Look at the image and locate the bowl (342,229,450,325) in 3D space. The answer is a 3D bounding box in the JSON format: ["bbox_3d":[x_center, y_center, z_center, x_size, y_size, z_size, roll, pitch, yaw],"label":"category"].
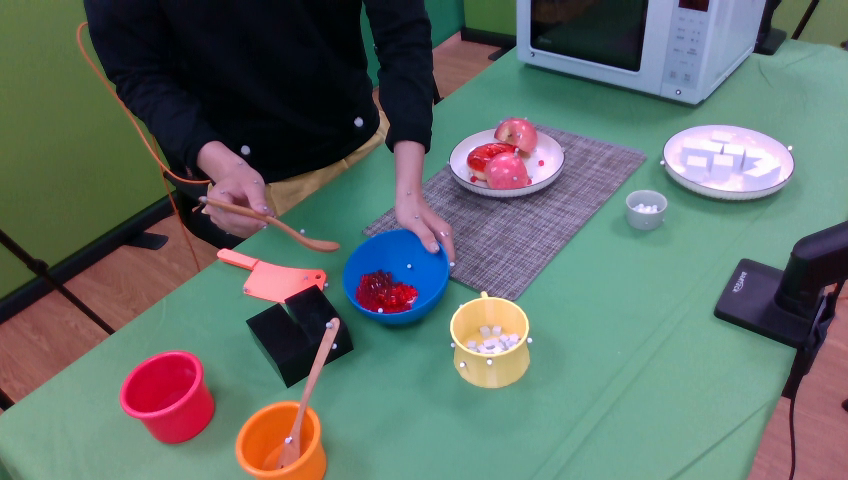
[{"bbox_3d":[-0.033,0.066,0.852,0.151,0.077,0.150,-6,48,7],"label":"bowl"}]

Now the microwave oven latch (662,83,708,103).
[{"bbox_3d":[0.518,-0.296,1.204,0.078,0.029,0.030,27,52,35],"label":"microwave oven latch"}]

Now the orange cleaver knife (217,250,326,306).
[{"bbox_3d":[-0.248,0.059,0.945,0.210,0.012,0.077,12,49,20],"label":"orange cleaver knife"}]

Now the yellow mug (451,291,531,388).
[{"bbox_3d":[0.086,0.120,0.786,0.100,0.064,0.130,-7,39,1],"label":"yellow mug"}]

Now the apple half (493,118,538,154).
[{"bbox_3d":[0.175,-0.196,1.114,0.080,0.053,0.075,29,12,34],"label":"apple half"}]

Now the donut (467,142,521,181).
[{"bbox_3d":[0.126,-0.144,1.090,0.099,0.048,0.098,-6,36,5],"label":"donut"}]

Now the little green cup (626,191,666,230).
[{"bbox_3d":[0.352,-0.046,0.963,0.061,0.039,0.061,-4,40,4],"label":"little green cup"}]

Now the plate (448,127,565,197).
[{"bbox_3d":[0.150,-0.138,1.097,0.209,0.038,0.208,-4,40,4],"label":"plate"}]

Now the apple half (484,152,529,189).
[{"bbox_3d":[0.144,-0.116,1.031,0.081,0.033,0.081,3,77,-11],"label":"apple half"}]

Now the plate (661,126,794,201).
[{"bbox_3d":[0.513,-0.128,1.035,0.207,0.039,0.206,-4,40,4],"label":"plate"}]

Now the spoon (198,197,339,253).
[{"bbox_3d":[-0.196,-0.020,0.782,0.021,0.195,0.041,-62,33,2],"label":"spoon"}]

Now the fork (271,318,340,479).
[{"bbox_3d":[-0.132,0.186,0.676,0.028,0.019,0.207,18,90,28],"label":"fork"}]

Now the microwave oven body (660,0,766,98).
[{"bbox_3d":[0.472,-0.513,1.317,0.438,0.261,0.327,26,51,34],"label":"microwave oven body"}]

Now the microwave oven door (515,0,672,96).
[{"bbox_3d":[0.343,-0.454,1.259,0.353,0.245,0.039,26,51,33],"label":"microwave oven door"}]
